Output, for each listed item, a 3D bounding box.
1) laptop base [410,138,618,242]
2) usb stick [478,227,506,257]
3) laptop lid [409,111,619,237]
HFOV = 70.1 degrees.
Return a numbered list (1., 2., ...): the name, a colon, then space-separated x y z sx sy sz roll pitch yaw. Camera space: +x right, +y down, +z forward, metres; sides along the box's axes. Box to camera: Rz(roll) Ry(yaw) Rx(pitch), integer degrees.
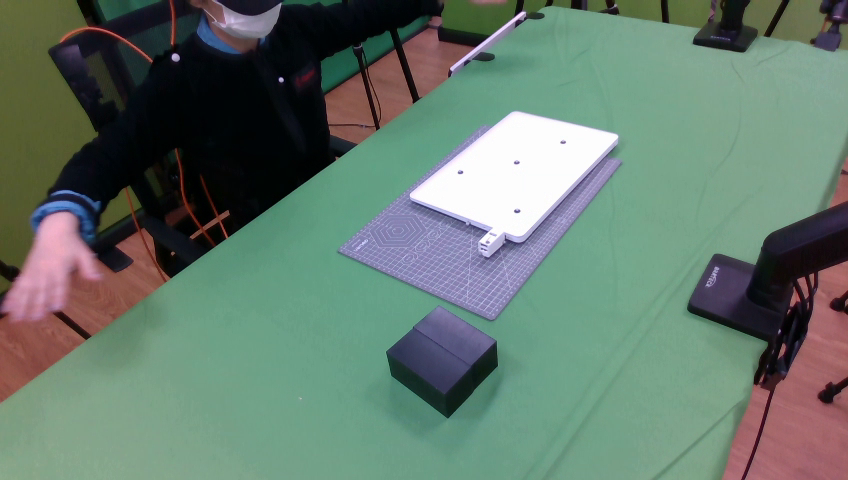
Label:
1. laptop base: 0.170 -0.127 1.096 0.233 0.023 0.355 21 47 34
2. usb stick: 0.109 -0.001 0.934 0.021 0.027 0.059 23 43 33
3. laptop lid: 0.167 -0.137 1.089 0.239 0.013 0.358 24 48 34
